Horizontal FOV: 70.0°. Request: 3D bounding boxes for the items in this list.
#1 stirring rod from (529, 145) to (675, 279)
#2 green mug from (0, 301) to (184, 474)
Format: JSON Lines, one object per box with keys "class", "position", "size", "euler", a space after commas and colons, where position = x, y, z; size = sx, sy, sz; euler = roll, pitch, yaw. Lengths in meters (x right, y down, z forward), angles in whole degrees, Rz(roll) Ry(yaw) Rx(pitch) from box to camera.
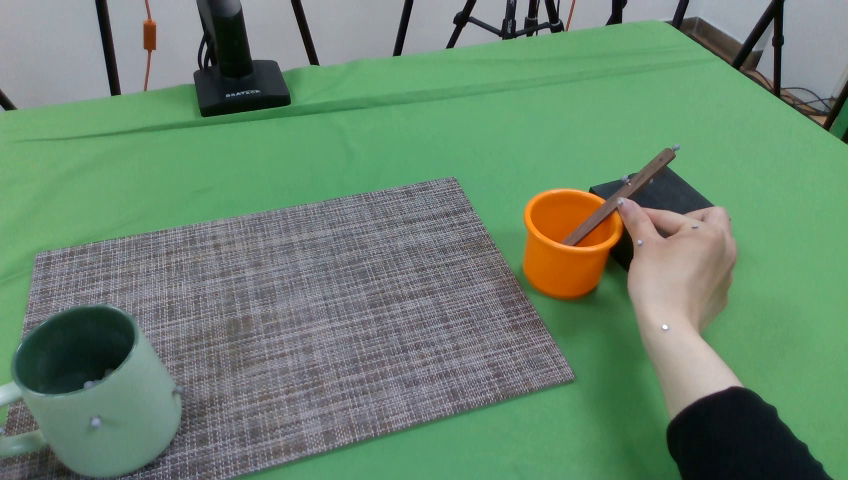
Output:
{"class": "stirring rod", "position": [0.167, -0.025, 0.577], "size": [0.176, 0.006, 0.014], "euler": [-45, 51, 14]}
{"class": "green mug", "position": [-0.245, 0.113, 0.431], "size": [0.125, 0.106, 0.091], "euler": [-21, 48, -22]}
